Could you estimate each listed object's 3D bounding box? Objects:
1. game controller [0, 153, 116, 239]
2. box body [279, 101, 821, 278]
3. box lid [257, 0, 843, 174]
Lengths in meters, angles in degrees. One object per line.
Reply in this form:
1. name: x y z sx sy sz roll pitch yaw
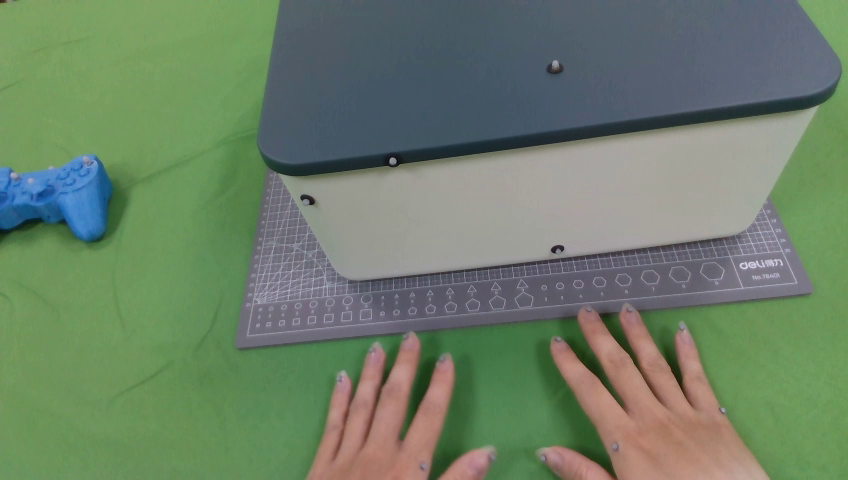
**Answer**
1. game controller: -0.383 -0.041 0.597 0.155 0.052 0.096 -6 49 4
2. box body: 0.079 -0.121 0.503 0.364 0.162 0.251 -7 53 4
3. box lid: 0.066 -0.165 0.445 0.371 0.015 0.260 -7 53 4
